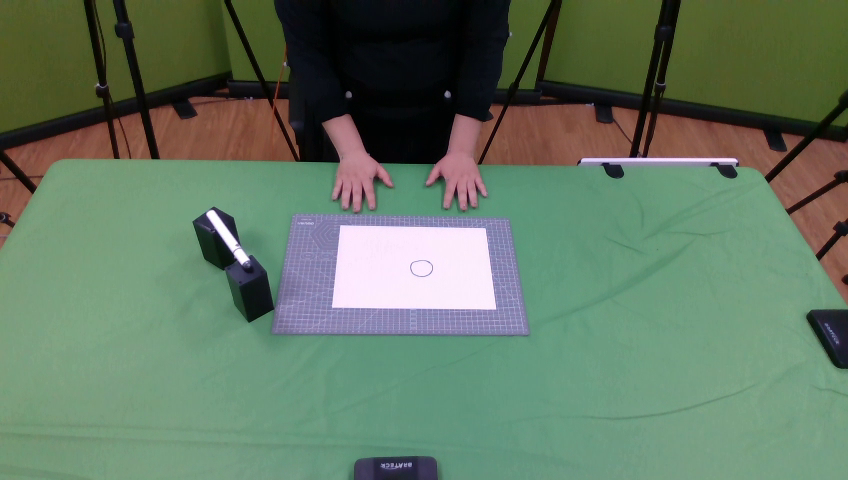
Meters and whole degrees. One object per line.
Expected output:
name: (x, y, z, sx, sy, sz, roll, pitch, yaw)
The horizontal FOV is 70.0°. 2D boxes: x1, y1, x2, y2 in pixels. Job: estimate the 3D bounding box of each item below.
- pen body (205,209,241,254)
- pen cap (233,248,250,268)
pen body: (-0.340, -0.006, 1.042, 0.017, 0.017, 0.143, -27, 53, -27)
pen cap: (-0.303, 0.031, 1.008, 0.017, 0.017, 0.038, -28, 55, -28)
